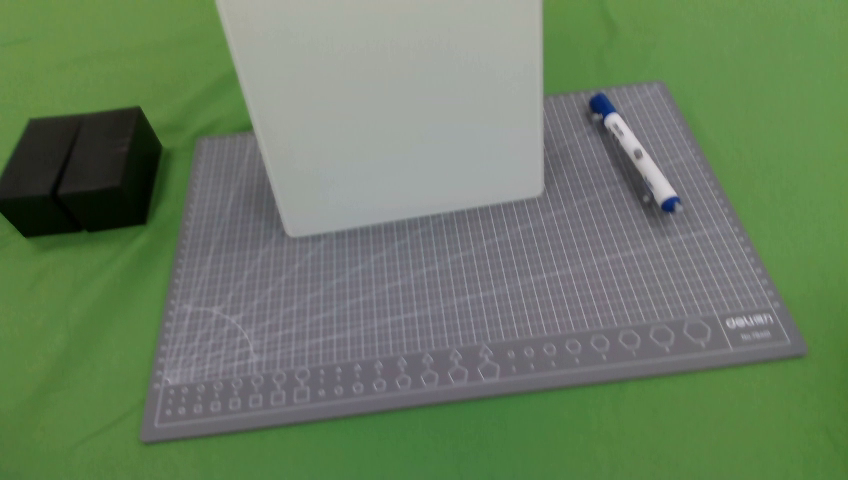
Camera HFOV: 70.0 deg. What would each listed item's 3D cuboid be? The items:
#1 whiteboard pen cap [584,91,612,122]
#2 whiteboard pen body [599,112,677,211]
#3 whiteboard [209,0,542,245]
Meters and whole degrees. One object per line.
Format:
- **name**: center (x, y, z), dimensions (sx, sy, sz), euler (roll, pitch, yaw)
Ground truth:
- **whiteboard pen cap**: center (0.160, -0.120, 0.551), dimensions (0.018, 0.018, 0.033), euler (-13, 51, -5)
- **whiteboard pen body**: center (0.174, -0.077, 0.514), dimensions (0.017, 0.017, 0.139), euler (-14, 51, -6)
- **whiteboard**: center (-0.034, -0.177, 0.470), dimensions (0.217, 0.308, 0.142), euler (-9, 33, -1)
